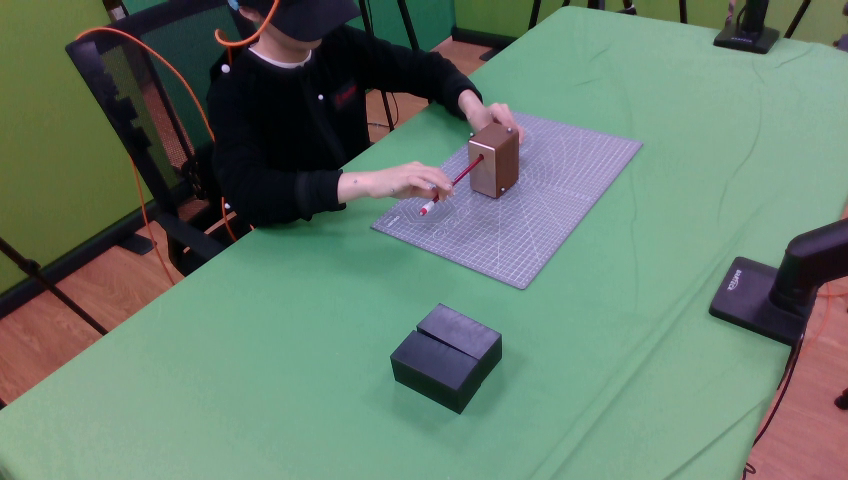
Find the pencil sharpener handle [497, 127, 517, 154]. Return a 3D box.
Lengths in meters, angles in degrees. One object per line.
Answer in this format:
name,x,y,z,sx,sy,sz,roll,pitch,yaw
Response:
pencil sharpener handle,0.151,-0.180,1.073,0.036,0.067,0.031,43,56,9

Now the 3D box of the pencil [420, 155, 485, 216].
pencil,0.056,-0.096,0.975,0.012,0.012,0.194,24,52,32

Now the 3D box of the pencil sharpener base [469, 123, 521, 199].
pencil sharpener base,0.126,-0.138,1.050,0.061,0.107,0.077,24,49,33
